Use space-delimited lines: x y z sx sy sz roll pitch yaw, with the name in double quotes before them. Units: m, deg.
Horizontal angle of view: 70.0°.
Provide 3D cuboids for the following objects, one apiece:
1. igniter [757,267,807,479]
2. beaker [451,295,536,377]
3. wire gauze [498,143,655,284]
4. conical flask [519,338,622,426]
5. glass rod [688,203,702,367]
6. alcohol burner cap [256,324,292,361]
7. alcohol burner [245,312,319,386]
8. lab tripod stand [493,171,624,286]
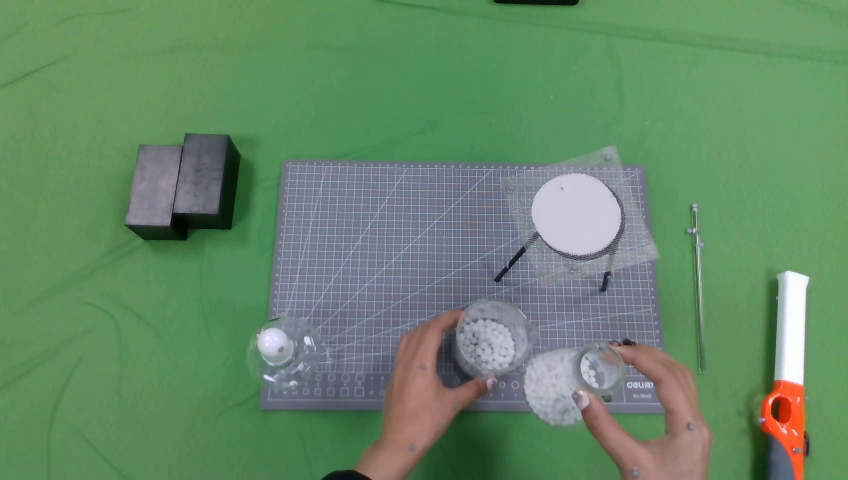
"igniter" 0.396 0.163 0.668 0.057 0.025 0.275 16 72 -7
"beaker" 0.068 0.104 0.638 0.084 0.101 0.073 -5 72 -3
"wire gauze" 0.149 -0.027 0.593 0.125 0.011 0.120 -15 75 -5
"conical flask" 0.126 0.112 0.501 0.075 0.122 0.075 1 70 -2
"glass rod" 0.318 0.049 0.711 0.008 0.008 0.198 5 72 0
"alcohol burner cap" -0.147 0.097 0.589 0.034 0.048 0.033 2 70 -6
"alcohol burner" -0.149 0.110 0.623 0.078 0.119 0.077 1 73 -2
"lab tripod stand" 0.148 -0.005 0.656 0.148 0.132 0.147 0 74 0
